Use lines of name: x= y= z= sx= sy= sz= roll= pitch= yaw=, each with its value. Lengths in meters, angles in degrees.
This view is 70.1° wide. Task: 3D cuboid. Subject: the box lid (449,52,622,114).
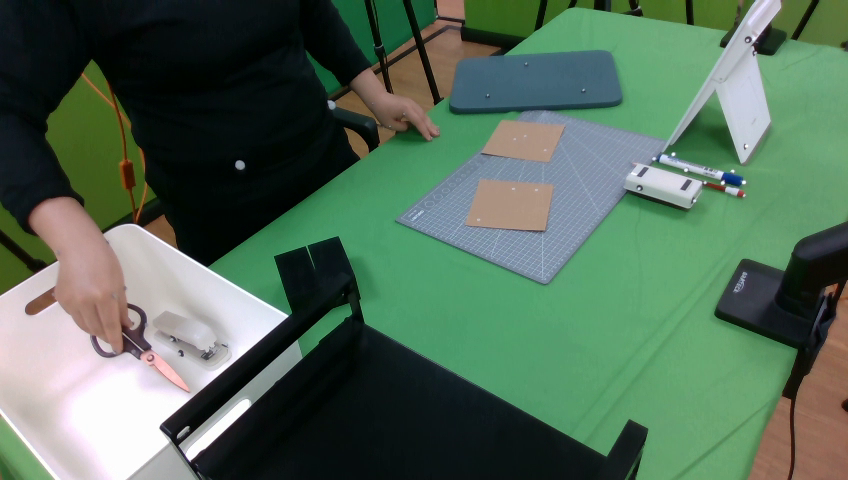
box lid: x=0.249 y=-0.358 z=1.370 sx=0.371 sy=0.015 sz=0.262 roll=-1 pitch=40 yaw=9

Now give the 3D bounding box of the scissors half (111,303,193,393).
scissors half: x=-0.342 y=0.136 z=0.768 sx=0.040 sy=0.013 sz=0.174 roll=-40 pitch=63 yaw=-19

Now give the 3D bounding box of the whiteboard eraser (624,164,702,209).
whiteboard eraser: x=0.396 y=-0.087 z=1.003 sx=0.112 sy=0.042 sz=0.056 roll=22 pitch=48 yaw=31

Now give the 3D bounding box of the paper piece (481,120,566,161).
paper piece: x=0.197 y=-0.199 z=1.188 sx=0.135 sy=0.004 sz=0.135 roll=10 pitch=44 yaw=21

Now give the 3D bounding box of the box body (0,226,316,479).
box body: x=-0.339 y=0.162 z=0.728 sx=0.361 sy=0.161 sz=0.255 roll=23 pitch=48 yaw=31

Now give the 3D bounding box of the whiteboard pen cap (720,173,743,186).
whiteboard pen cap: x=0.519 y=-0.103 z=1.020 sx=0.033 sy=0.018 sz=0.018 roll=23 pitch=49 yaw=30

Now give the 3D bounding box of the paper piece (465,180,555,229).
paper piece: x=0.149 y=-0.062 z=1.035 sx=0.137 sy=0.009 sz=0.136 roll=4 pitch=37 yaw=16

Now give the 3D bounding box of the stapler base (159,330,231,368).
stapler base: x=-0.325 y=0.141 z=0.850 sx=0.129 sy=0.024 sz=0.041 roll=15 pitch=35 yaw=35

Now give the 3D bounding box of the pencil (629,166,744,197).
pencil: x=0.447 y=-0.103 z=1.038 sx=0.192 sy=0.012 sz=0.012 roll=21 pitch=48 yaw=29

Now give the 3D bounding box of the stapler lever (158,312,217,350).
stapler lever: x=-0.330 y=0.120 z=0.838 sx=0.117 sy=0.040 sz=0.027 roll=15 pitch=35 yaw=35

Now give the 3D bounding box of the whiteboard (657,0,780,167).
whiteboard: x=0.571 y=-0.272 z=1.038 sx=0.143 sy=0.306 sz=0.218 roll=37 pitch=54 yaw=17

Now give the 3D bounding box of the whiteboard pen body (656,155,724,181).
whiteboard pen body: x=0.475 y=-0.123 z=1.052 sx=0.139 sy=0.017 sz=0.017 roll=24 pitch=50 yaw=32

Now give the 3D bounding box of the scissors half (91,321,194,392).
scissors half: x=-0.355 y=0.151 z=0.760 sx=0.174 sy=0.013 sz=0.040 roll=22 pitch=67 yaw=18
